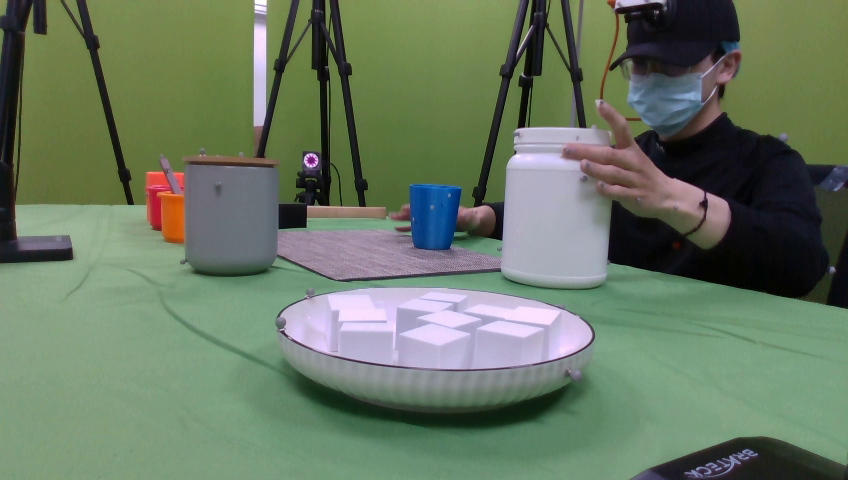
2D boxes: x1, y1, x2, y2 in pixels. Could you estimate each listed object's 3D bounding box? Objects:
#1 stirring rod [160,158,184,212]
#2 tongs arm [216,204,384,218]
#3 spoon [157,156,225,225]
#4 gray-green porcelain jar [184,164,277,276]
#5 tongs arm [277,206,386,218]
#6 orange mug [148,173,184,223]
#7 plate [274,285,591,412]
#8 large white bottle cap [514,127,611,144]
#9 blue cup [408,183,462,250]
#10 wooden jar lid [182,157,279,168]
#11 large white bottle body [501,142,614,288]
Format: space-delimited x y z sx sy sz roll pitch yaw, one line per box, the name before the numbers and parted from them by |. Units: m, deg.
stirring rod | -0.390 -0.070 0.972 0.014 0.006 0.175 -1 49 -49
tongs arm | -0.288 -0.069 1.435 0.389 0.027 0.028 0 -1 -17
spoon | -0.425 -0.094 1.117 0.041 0.022 0.194 5 51 29
gray-green porcelain jar | -0.230 -0.025 0.722 0.106 0.126 0.106 3 7 0
tongs arm | -0.251 -0.063 1.360 0.387 0.026 0.050 -1 3 -31
orange mug | -0.490 -0.087 1.222 0.127 0.101 0.083 -9 13 -38
plate | 0.005 0.069 0.408 0.208 0.039 0.207 2 7 0
large white bottle cap | 0.167 -0.125 0.734 0.115 0.018 0.115 2 7 0
blue cup | 0.015 -0.038 0.969 0.093 0.100 0.092 3 9 0
wooden jar lid | -0.227 -0.086 0.714 0.108 0.020 0.108 1 6 0
large white bottle body | 0.164 -0.042 0.745 0.131 0.184 0.130 2 7 0
